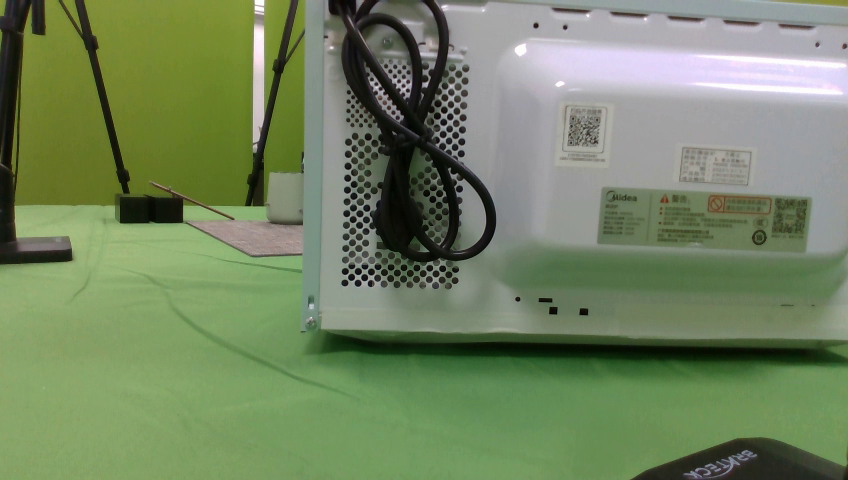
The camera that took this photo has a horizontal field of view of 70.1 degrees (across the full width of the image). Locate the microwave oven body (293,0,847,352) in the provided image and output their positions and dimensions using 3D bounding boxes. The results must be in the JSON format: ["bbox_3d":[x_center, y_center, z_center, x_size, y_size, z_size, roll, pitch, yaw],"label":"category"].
[{"bbox_3d":[0.122,-0.055,0.550,0.442,0.260,0.325,3,7,-5],"label":"microwave oven body"}]

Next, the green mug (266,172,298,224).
[{"bbox_3d":[-0.272,-0.089,1.271,0.092,0.105,0.126,7,8,33],"label":"green mug"}]

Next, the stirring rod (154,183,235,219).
[{"bbox_3d":[-0.472,-0.079,1.252,0.177,0.006,0.014,27,3,-35],"label":"stirring rod"}]

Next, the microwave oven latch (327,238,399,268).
[{"bbox_3d":[-0.069,0.015,0.694,0.079,0.029,0.030,3,7,-3],"label":"microwave oven latch"}]

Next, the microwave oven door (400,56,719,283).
[{"bbox_3d":[0.155,-0.077,0.698,0.356,0.243,0.039,2,8,-5],"label":"microwave oven door"}]
